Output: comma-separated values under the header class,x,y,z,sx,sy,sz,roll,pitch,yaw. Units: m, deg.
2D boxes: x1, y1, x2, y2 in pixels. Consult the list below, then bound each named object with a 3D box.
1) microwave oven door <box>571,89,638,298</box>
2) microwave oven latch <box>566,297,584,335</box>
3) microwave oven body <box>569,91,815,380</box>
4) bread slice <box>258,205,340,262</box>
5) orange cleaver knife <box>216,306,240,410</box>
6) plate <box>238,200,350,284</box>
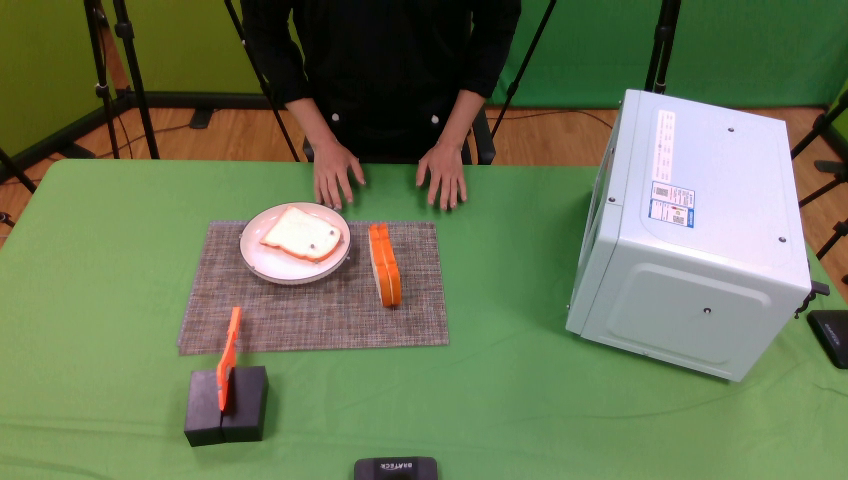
class,x,y,z,sx,sy,sz,roll,pitch,yaw
microwave oven door,0.343,-0.091,1.133,0.039,0.245,0.354,15,47,10
microwave oven latch,0.268,0.126,1.059,0.030,0.029,0.079,16,46,12
microwave oven body,0.468,-0.022,1.082,0.325,0.261,0.440,15,46,11
bread slice,-0.232,-0.009,1.168,0.134,0.018,0.106,19,51,10
orange cleaver knife,-0.307,0.180,0.957,0.012,0.077,0.210,-2,25,-8
plate,-0.245,0.007,1.156,0.208,0.039,0.206,2,46,-2
